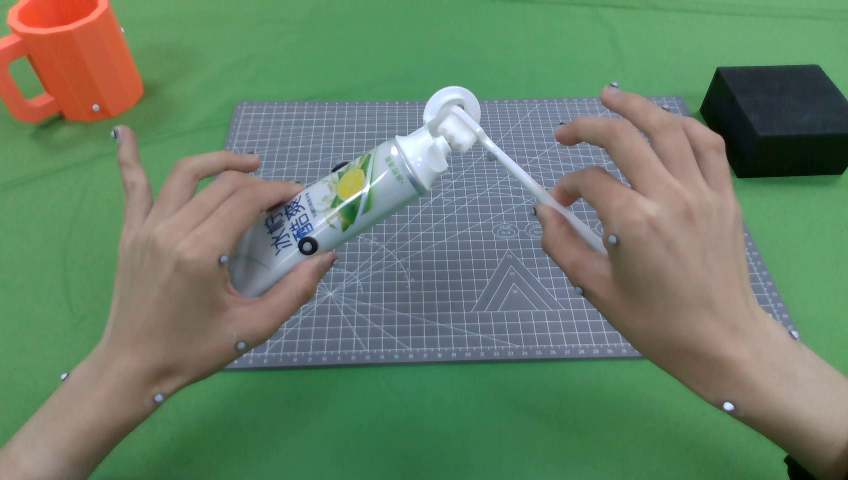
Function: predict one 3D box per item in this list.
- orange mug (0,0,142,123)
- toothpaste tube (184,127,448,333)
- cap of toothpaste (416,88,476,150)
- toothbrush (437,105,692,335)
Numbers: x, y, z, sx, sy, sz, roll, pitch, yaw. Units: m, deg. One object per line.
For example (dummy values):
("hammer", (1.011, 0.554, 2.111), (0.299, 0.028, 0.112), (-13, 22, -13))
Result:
("orange mug", (-0.341, -0.168, 0.568), (0.083, 0.101, 0.126), (32, 52, 24))
("toothpaste tube", (-0.060, -0.013, 0.331), (0.165, 0.035, 0.054), (-31, 52, 4))
("cap of toothpaste", (0.013, -0.067, 0.340), (0.037, 0.037, 0.011), (-14, 27, -12))
("toothbrush", (0.078, -0.007, 0.330), (0.182, 0.014, 0.016), (41, 69, -5))
